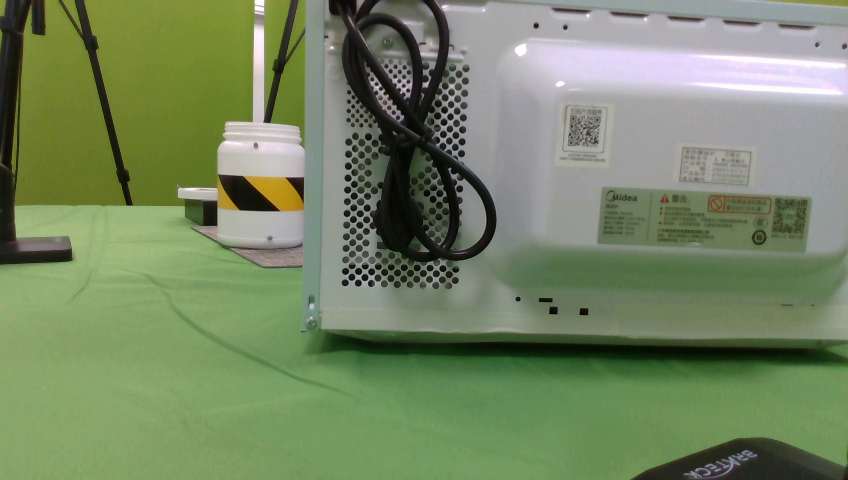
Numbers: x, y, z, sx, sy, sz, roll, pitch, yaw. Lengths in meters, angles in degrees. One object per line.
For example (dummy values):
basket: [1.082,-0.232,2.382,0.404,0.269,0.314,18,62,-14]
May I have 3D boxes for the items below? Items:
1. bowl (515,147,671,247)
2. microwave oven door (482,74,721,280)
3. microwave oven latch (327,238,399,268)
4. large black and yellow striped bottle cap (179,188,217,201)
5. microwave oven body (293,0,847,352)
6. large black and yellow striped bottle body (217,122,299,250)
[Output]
bowl: [0.161,-0.036,0.598,0.151,0.076,0.151,7,-4,1]
microwave oven door: [0.221,-0.093,0.843,0.039,0.243,0.354,-3,9,-38]
microwave oven latch: [-0.069,0.015,0.694,0.079,0.029,0.030,3,7,-3]
large black and yellow striped bottle cap: [-0.434,-0.093,1.226,0.115,0.019,0.115,3,9,0]
microwave oven body: [0.122,-0.055,0.550,0.442,0.260,0.325,3,7,-5]
large black and yellow striped bottle body: [-0.250,-0.084,0.931,0.131,0.184,0.130,2,7,0]
